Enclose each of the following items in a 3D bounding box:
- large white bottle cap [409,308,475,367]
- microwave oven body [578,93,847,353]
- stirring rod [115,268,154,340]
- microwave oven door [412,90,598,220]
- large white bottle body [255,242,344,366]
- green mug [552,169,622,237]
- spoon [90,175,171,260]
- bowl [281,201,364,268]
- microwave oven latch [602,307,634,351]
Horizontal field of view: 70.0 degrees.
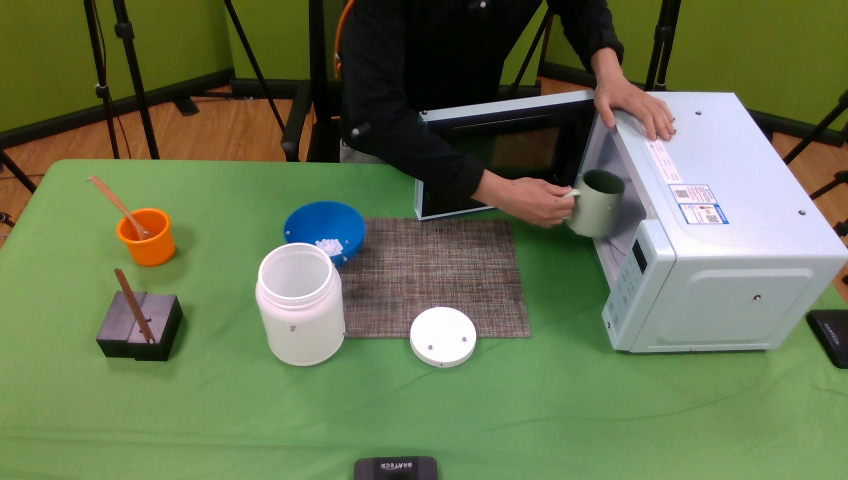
[{"bbox_3d":[0.031,0.166,1.041,0.115,0.018,0.114,2,47,-2],"label":"large white bottle cap"},{"bbox_3d":[0.475,-0.041,1.110,0.326,0.261,0.438,-1,45,-4],"label":"microwave oven body"},{"bbox_3d":[-0.479,0.103,0.999,0.014,0.006,0.175,8,32,-49],"label":"stirring rod"},{"bbox_3d":[0.156,-0.166,1.200,0.356,0.245,0.039,-10,47,-14],"label":"microwave oven door"},{"bbox_3d":[-0.196,0.102,0.967,0.131,0.185,0.130,2,49,-2],"label":"large white bottle body"},{"bbox_3d":[0.297,-0.065,1.121,0.125,0.105,0.092,-8,44,-14],"label":"green mug"},{"bbox_3d":[-0.539,-0.042,1.111,0.041,0.194,0.021,-45,19,-32],"label":"spoon"},{"bbox_3d":[-0.187,0.005,1.137,0.151,0.077,0.150,3,46,-3],"label":"bowl"},{"bbox_3d":[0.332,0.153,1.044,0.030,0.029,0.078,-1,45,-4],"label":"microwave oven latch"}]
